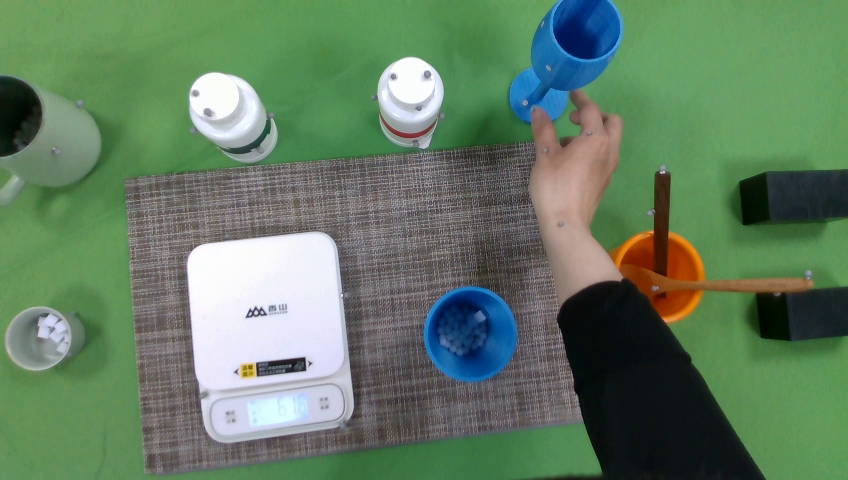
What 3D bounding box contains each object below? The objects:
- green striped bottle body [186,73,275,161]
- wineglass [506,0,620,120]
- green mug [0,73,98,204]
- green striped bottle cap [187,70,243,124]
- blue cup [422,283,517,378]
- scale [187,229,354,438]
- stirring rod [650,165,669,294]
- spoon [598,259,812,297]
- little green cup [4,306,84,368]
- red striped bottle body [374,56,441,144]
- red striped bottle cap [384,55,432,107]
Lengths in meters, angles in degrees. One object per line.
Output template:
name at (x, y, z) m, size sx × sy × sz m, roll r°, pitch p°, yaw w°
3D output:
green striped bottle body at (-0.186, -0.119, 0.585) m, size 0.063 × 0.119 × 0.063 m, roll 0°, pitch 85°, yaw -3°
wineglass at (0.126, -0.171, 0.583) m, size 0.074 × 0.172 × 0.073 m, roll 0°, pitch 85°, yaw -3°
green mug at (-0.386, -0.089, 0.577) m, size 0.092 × 0.105 × 0.125 m, roll 29°, pitch 84°, yaw -1°
green striped bottle cap at (-0.183, -0.125, 0.529) m, size 0.044 × 0.020 × 0.044 m, roll 0°, pitch 85°, yaw -2°
blue cup at (0.040, 0.084, 0.590) m, size 0.093 × 0.100 × 0.092 m, roll 0°, pitch 86°, yaw -2°
scale at (-0.154, 0.093, 0.611) m, size 0.149 × 0.031 × 0.200 m, roll -7°, pitch 87°, yaw -4°
stirring rod at (0.227, -0.003, 0.587) m, size 0.014 × 0.178 × 0.006 m, roll 8°, pitch 51°, yaw 26°
spoon at (0.263, 0.038, 0.588) m, size 0.022 × 0.192 × 0.041 m, roll -12°, pitch 98°, yaw -47°
little green cup at (-0.370, 0.094, 0.597) m, size 0.061 × 0.038 × 0.061 m, roll 0°, pitch 86°, yaw -5°
red striped bottle body at (-0.017, -0.139, 0.598) m, size 0.063 × 0.120 × 0.063 m, roll 0°, pitch 85°, yaw -4°
red striped bottle cap at (-0.014, -0.143, 0.544) m, size 0.044 × 0.018 × 0.044 m, roll 0°, pitch 83°, yaw -3°
